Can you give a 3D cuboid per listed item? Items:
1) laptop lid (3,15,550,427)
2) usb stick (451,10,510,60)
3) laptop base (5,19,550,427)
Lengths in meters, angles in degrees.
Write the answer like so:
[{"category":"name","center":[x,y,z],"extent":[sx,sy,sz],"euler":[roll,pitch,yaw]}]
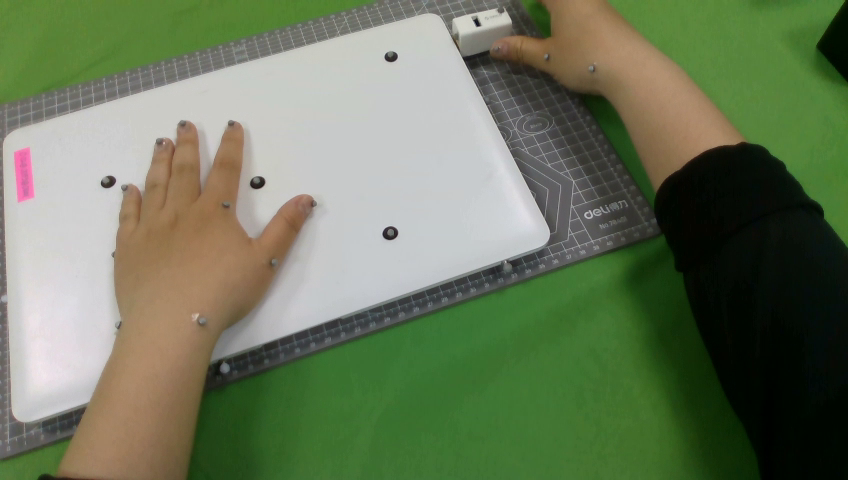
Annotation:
[{"category":"laptop lid","center":[-0.116,-0.037,0.430],"extent":[0.357,0.013,0.239],"euler":[-17,64,-6]},{"category":"usb stick","center":[0.039,-0.164,0.490],"extent":[0.059,0.027,0.021],"euler":[-17,58,-3]},{"category":"laptop base","center":[-0.116,-0.034,0.440],"extent":[0.355,0.023,0.233],"euler":[-19,65,-7]}]
